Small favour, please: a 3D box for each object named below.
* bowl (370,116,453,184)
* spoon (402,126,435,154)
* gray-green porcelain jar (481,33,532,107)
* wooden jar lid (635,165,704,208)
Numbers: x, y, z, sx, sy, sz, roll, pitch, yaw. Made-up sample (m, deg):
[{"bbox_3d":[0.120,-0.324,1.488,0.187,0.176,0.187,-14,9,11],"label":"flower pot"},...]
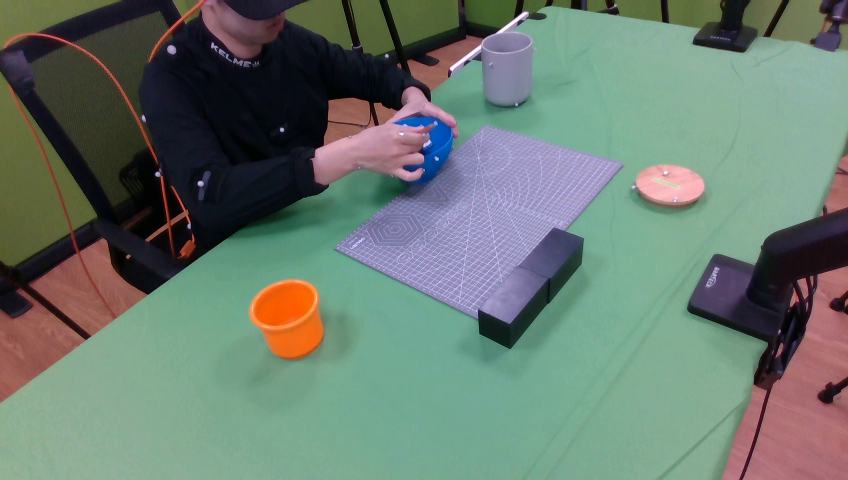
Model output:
[{"bbox_3d":[-0.018,-0.155,1.106,0.151,0.077,0.150,-6,40,5],"label":"bowl"},{"bbox_3d":[-0.009,-0.175,1.051,0.042,0.021,0.193,-22,-1,-11],"label":"spoon"},{"bbox_3d":[0.175,-0.355,1.278,0.106,0.127,0.105,-4,41,4],"label":"gray-green porcelain jar"},{"bbox_3d":[0.410,-0.089,1.014,0.108,0.021,0.108,-5,42,5],"label":"wooden jar lid"}]
